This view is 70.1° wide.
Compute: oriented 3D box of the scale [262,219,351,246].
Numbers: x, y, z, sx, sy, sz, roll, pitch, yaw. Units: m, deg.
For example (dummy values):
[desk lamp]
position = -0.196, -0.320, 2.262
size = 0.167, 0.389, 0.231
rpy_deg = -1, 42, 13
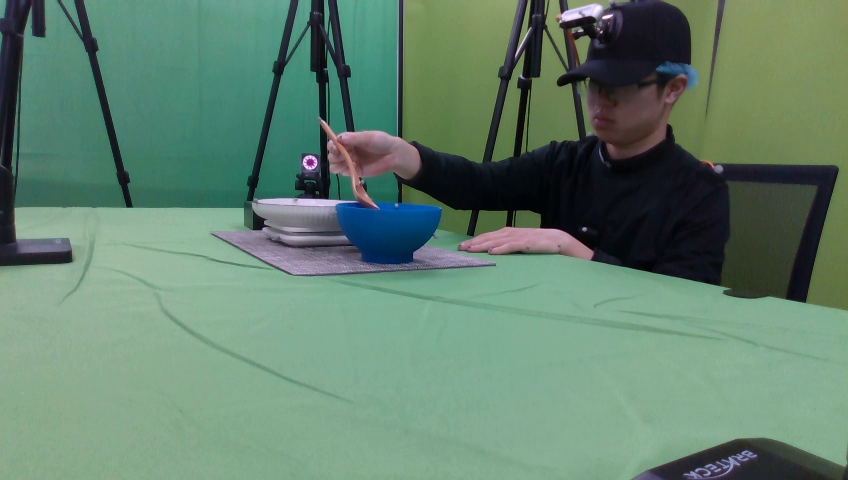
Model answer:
[scale]
position = -0.160, -0.015, 1.027
size = 0.202, 0.031, 0.148
rpy_deg = -2, 8, -32

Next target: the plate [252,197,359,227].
[plate]
position = -0.179, -0.047, 1.012
size = 0.209, 0.038, 0.209
rpy_deg = 2, 6, 0

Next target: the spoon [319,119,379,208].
[spoon]
position = -0.115, -0.117, 0.917
size = 0.021, 0.193, 0.042
rpy_deg = -37, -27, 17

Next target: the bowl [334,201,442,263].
[bowl]
position = -0.051, -0.012, 0.849
size = 0.151, 0.077, 0.151
rpy_deg = 2, 7, 0
